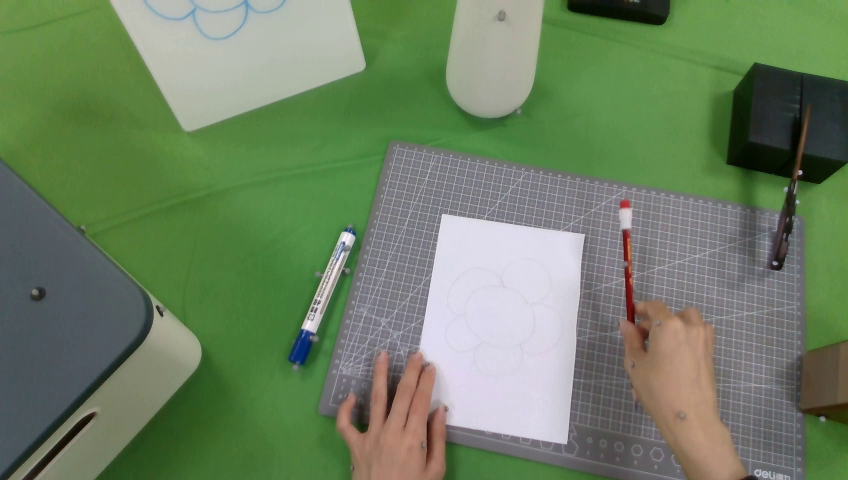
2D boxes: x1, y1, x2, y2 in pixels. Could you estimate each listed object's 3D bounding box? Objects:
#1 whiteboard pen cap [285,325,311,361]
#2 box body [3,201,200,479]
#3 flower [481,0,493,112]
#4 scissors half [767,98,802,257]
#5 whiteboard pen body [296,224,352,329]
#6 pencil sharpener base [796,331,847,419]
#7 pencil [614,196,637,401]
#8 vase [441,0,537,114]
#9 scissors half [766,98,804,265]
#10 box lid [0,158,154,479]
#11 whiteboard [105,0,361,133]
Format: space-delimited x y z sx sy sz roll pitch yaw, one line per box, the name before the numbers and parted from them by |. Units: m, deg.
whiteboard pen cap | -0.120 0.098 0.583 0.018 0.018 0.033 17 66 6
box body | -0.412 0.064 0.520 0.362 0.161 0.253 37 74 12
flower | 0.061 -0.257 0.533 0.044 0.365 0.038 4 52 5
scissors half | 0.360 -0.066 0.596 0.013 0.040 0.174 12 71 24
whiteboard pen body | -0.102 0.046 0.604 0.017 0.017 0.140 17 69 7
pencil sharpener base | 0.395 0.121 0.531 0.076 0.107 0.061 15 69 2
pencil | 0.192 0.053 0.573 0.012 0.012 0.193 -1 79 0
vase | 0.066 -0.214 0.605 0.098 0.201 0.097 0 68 1
scissors half | 0.368 -0.060 0.614 0.012 0.040 0.175 11 89 30
box lid | -0.414 0.036 0.451 0.370 0.015 0.263 37 73 12
whiteboard | -0.216 -0.302 0.612 0.217 0.308 0.142 -22 52 -7
